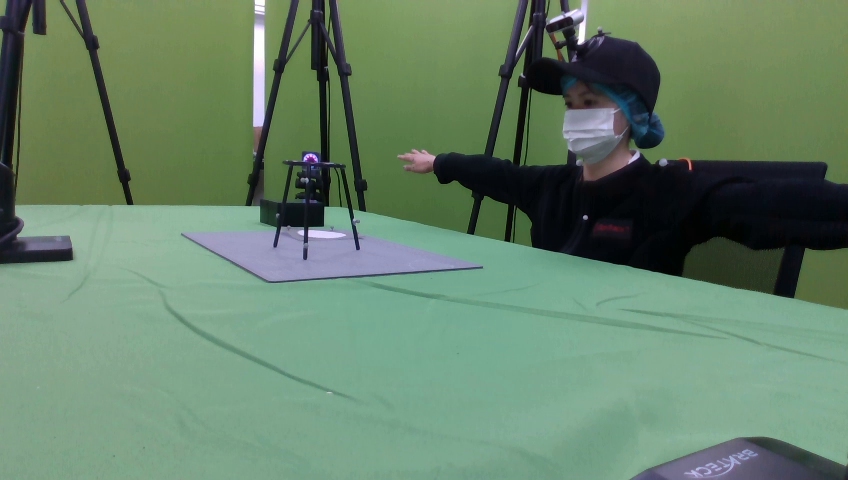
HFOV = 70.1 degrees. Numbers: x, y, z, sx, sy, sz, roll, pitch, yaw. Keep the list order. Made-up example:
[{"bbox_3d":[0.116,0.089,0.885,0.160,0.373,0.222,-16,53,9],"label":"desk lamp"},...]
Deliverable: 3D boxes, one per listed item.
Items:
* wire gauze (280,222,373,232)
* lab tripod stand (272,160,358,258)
[{"bbox_3d":[-0.173,-0.025,1.072,0.121,0.011,0.126,6,2,38],"label":"wire gauze"},{"bbox_3d":[-0.159,-0.048,0.876,0.148,0.131,0.148,3,5,0],"label":"lab tripod stand"}]
